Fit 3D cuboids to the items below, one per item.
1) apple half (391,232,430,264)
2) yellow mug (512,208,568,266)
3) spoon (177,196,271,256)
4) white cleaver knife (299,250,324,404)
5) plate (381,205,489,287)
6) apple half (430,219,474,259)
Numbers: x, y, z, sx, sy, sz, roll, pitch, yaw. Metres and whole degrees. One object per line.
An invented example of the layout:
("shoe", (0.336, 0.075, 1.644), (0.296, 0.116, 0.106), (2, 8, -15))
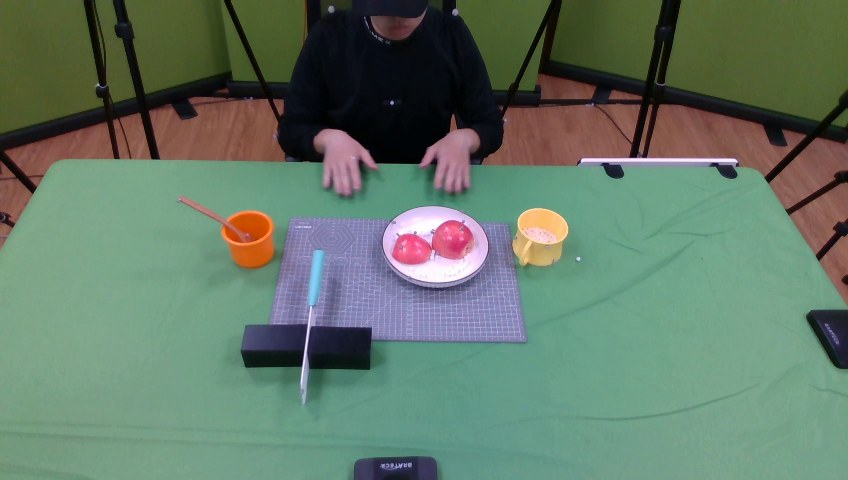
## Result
("apple half", (-0.024, 0.009, 1.163), (0.081, 0.033, 0.081), (2, 44, -2))
("yellow mug", (0.218, 0.002, 1.183), (0.099, 0.064, 0.130), (28, 51, 21))
("spoon", (-0.362, -0.027, 1.108), (0.021, 0.195, 0.041), (-31, 35, 28))
("white cleaver knife", (-0.194, 0.134, 1.019), (0.021, 0.066, 0.284), (5, 50, -5))
("plate", (0.021, 0.015, 1.170), (0.209, 0.038, 0.208), (2, 46, -2))
("apple half", (0.056, -0.007, 1.172), (0.081, 0.053, 0.074), (-33, 59, -31))
